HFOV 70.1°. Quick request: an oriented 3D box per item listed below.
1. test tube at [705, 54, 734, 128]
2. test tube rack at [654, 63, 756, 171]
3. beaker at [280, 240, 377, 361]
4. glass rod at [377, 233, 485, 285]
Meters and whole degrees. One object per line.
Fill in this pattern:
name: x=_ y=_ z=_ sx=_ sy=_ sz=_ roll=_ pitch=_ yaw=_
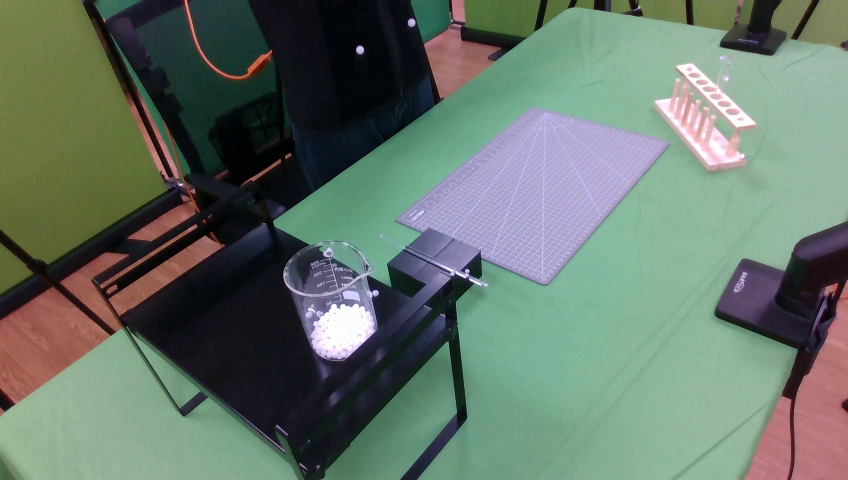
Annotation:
test tube: x=0.523 y=-0.260 z=1.073 sx=0.017 sy=0.151 sz=0.017 roll=-4 pitch=46 yaw=5
test tube rack: x=0.510 y=-0.233 z=1.120 sx=0.067 sy=0.085 sz=0.241 roll=-8 pitch=41 yaw=-1
beaker: x=-0.084 y=0.061 z=0.580 sx=0.084 sy=0.101 sz=0.073 roll=-3 pitch=41 yaw=5
glass rod: x=0.005 y=0.025 z=0.877 sx=0.198 sy=0.008 sz=0.008 roll=24 pitch=50 yaw=31
